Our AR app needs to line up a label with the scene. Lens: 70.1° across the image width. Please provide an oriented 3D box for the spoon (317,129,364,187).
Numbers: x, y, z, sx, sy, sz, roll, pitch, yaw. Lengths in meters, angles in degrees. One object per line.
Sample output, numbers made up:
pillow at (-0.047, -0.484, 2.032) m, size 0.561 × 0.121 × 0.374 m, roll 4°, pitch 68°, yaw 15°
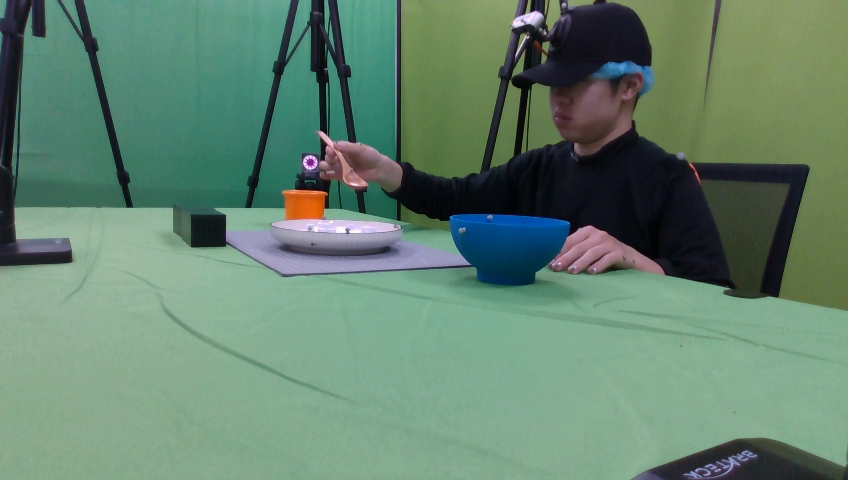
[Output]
spoon at (-0.163, -0.157, 1.142) m, size 0.042 × 0.021 × 0.193 m, roll -4°, pitch 46°, yaw -34°

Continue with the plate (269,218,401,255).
plate at (-0.140, -0.006, 0.958) m, size 0.209 × 0.038 × 0.209 m, roll 3°, pitch 7°, yaw 0°

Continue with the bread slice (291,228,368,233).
bread slice at (-0.143, -0.004, 0.953) m, size 0.135 × 0.018 × 0.106 m, roll -2°, pitch 9°, yaw -37°

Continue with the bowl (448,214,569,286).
bowl at (0.102, 0.012, 0.758) m, size 0.151 × 0.077 × 0.151 m, roll 3°, pitch 7°, yaw 0°
